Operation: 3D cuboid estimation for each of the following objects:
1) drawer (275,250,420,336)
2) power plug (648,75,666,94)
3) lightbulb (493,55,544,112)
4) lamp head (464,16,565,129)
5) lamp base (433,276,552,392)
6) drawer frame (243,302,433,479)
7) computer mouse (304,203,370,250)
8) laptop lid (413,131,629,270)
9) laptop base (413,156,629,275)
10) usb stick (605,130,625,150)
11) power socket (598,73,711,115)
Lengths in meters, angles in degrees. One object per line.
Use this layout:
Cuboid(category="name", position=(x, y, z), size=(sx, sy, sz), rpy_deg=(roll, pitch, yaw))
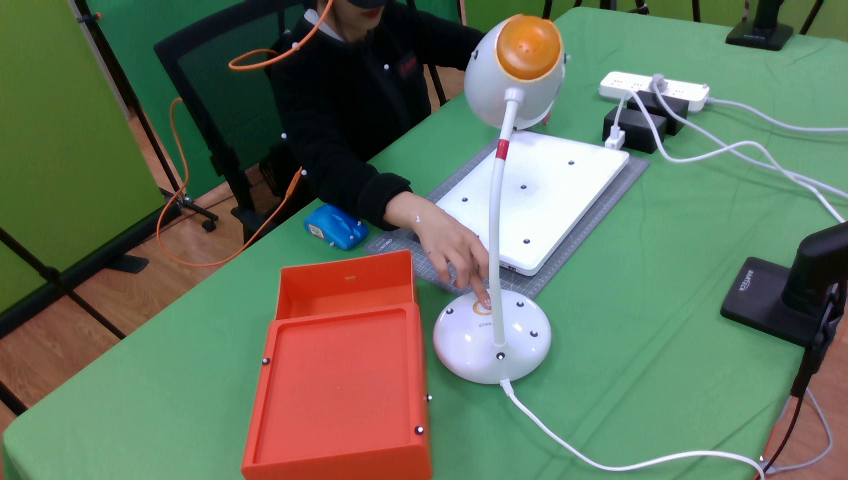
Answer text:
Cuboid(category="drawer", position=(-0.104, 0.117, 0.825), size=(0.194, 0.073, 0.210), rpy_deg=(-8, 40, 1))
Cuboid(category="power plug", position=(0.457, -0.301, 1.212), size=(0.073, 0.053, 0.035), rpy_deg=(-36, 46, -28))
Cuboid(category="lightbulb", position=(0.110, -0.180, 0.679), size=(0.059, 0.059, 0.107), rpy_deg=(-10, -2, -1))
Cuboid(category="lamp head", position=(0.101, -0.184, 0.655), size=(0.112, 0.112, 0.123), rpy_deg=(-9, 1, 0))
Cuboid(category="lamp base", position=(0.085, 0.075, 0.756), size=(0.161, 0.181, 0.178), rpy_deg=(-14, 44, -5))
Cuboid(category="drawer frame", position=(-0.096, 0.185, 0.738), size=(0.202, 0.083, 0.212), rpy_deg=(-8, 40, 1))
Cuboid(category="computer mouse", position=(-0.151, -0.026, 1.038), size=(0.116, 0.041, 0.063), rpy_deg=(28, 51, 32))
Cuboid(category="laptop lid", position=(0.172, -0.087, 1.042), size=(0.239, 0.013, 0.357), rpy_deg=(21, 48, 34))
Cuboid(category="laptop base", position=(0.175, -0.078, 1.047), size=(0.233, 0.023, 0.355), rpy_deg=(18, 47, 35))
Cuboid(category="usb stick", position=(0.348, -0.175, 1.110), size=(0.021, 0.027, 0.059), rpy_deg=(19, 52, 29))
Cuboid(category="power socket", position=(0.470, -0.303, 1.249), size=(0.225, 0.033, 0.072), rpy_deg=(20, 49, 30))
